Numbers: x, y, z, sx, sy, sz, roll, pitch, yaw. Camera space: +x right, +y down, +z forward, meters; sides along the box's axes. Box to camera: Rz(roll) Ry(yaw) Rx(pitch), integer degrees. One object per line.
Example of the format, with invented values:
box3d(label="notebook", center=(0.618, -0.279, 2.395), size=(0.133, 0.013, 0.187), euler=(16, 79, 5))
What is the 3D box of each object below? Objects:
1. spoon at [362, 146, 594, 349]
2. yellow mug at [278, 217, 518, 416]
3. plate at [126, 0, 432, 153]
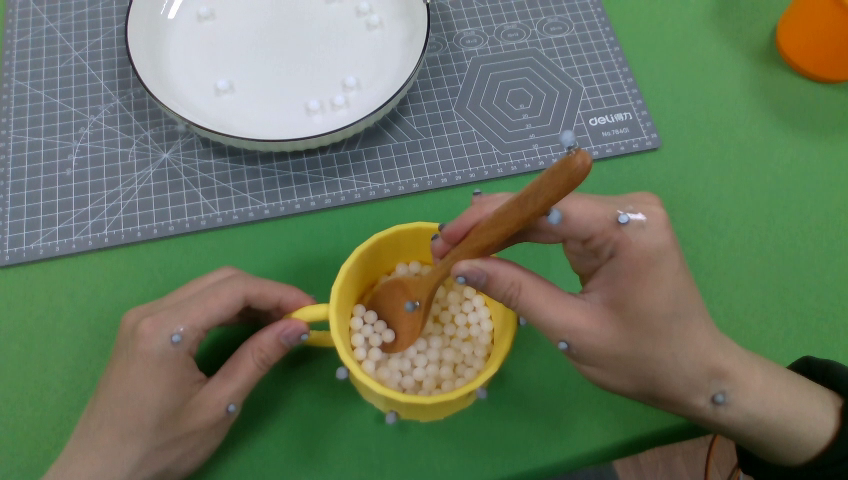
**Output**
box3d(label="spoon", center=(0.012, 0.012, 0.284), size=(0.022, 0.194, 0.041), euler=(-9, 71, -29))
box3d(label="yellow mug", center=(-0.016, 0.046, 0.343), size=(0.131, 0.064, 0.099), euler=(-3, 67, -3))
box3d(label="plate", center=(-0.098, -0.148, 0.432), size=(0.208, 0.039, 0.206), euler=(1, 67, -2))
